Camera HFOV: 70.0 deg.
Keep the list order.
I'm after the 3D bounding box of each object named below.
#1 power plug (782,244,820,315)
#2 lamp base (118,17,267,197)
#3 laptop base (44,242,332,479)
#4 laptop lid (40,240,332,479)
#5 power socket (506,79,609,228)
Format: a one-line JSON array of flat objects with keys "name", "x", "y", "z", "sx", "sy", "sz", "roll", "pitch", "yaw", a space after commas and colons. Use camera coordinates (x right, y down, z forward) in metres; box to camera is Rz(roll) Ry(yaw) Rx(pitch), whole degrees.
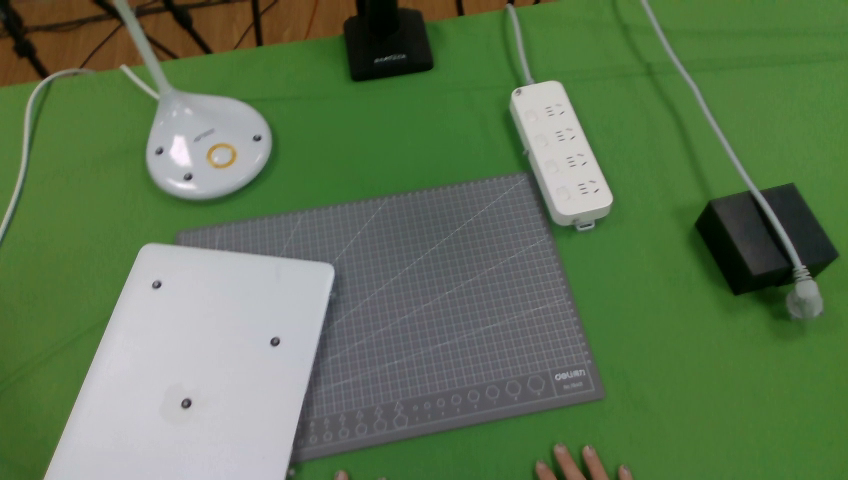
[{"name": "power plug", "x": 0.407, "y": 0.045, "z": 0.655, "sx": 0.035, "sy": 0.053, "sz": 0.072, "roll": 2, "pitch": 76, "yaw": 18}, {"name": "lamp base", "x": -0.299, "y": -0.169, "z": 0.733, "sx": 0.178, "sy": 0.182, "sz": 0.160, "roll": 34, "pitch": 67, "yaw": 22}, {"name": "laptop base", "x": -0.245, "y": 0.169, "z": 0.637, "sx": 0.235, "sy": 0.023, "sz": 0.351, "roll": 7, "pitch": 62, "yaw": 3}, {"name": "laptop lid", "x": -0.243, "y": 0.163, "z": 0.626, "sx": 0.241, "sy": 0.013, "sz": 0.354, "roll": 8, "pitch": 62, "yaw": 5}, {"name": "power socket", "x": 0.166, "y": -0.118, "z": 0.773, "sx": 0.072, "sy": 0.033, "sz": 0.224, "roll": -12, "pitch": 61, "yaw": -6}]
